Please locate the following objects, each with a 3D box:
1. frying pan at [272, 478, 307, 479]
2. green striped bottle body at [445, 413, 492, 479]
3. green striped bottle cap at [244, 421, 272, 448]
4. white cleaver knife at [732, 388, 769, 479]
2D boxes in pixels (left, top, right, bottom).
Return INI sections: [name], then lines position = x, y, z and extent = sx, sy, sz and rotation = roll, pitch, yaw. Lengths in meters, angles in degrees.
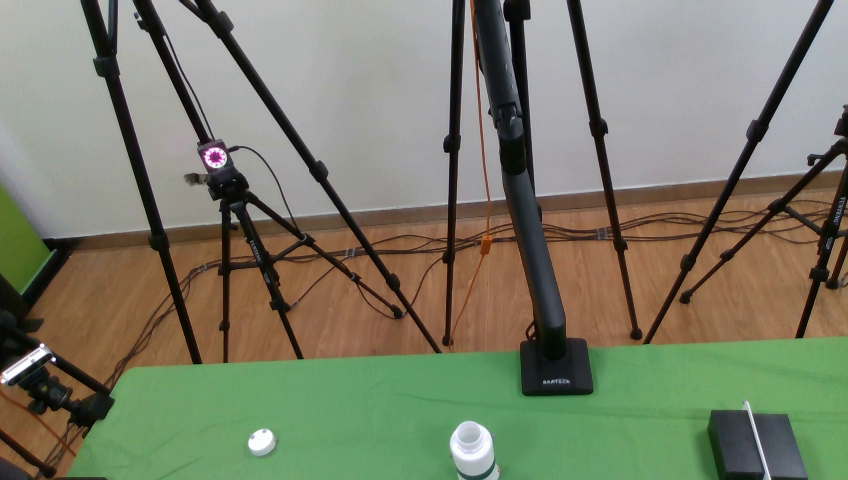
[frying pan]
position = -0.215, 0.536, 0.746
extent = 0.306, 0.103, 0.483
rotation = -7, 33, 8
[green striped bottle body]
position = 0.066, 0.311, 0.917
extent = 0.063, 0.120, 0.062
rotation = -7, 41, 6
[green striped bottle cap]
position = -0.288, 0.337, 1.052
extent = 0.044, 0.020, 0.044
rotation = -8, 41, 7
[white cleaver knife]
position = 0.466, 0.332, 0.834
extent = 0.021, 0.066, 0.284
rotation = -6, 39, 17
